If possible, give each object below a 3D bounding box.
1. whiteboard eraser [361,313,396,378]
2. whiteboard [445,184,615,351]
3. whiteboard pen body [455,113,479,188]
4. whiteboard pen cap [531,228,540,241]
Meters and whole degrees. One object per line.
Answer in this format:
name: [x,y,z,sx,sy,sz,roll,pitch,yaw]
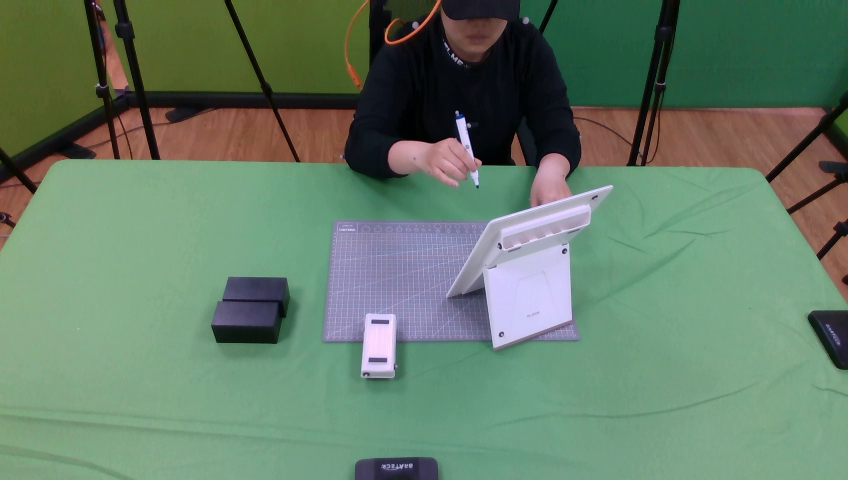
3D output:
whiteboard eraser: [-0.075,0.176,1.006,0.055,0.042,0.112,3,50,-4]
whiteboard: [0.187,0.065,0.989,0.217,0.306,0.143,-15,68,-18]
whiteboard pen body: [0.079,-0.158,1.077,0.017,0.141,0.017,-14,23,6]
whiteboard pen cap: [0.225,-0.012,1.220,0.018,0.018,0.033,13,30,8]
